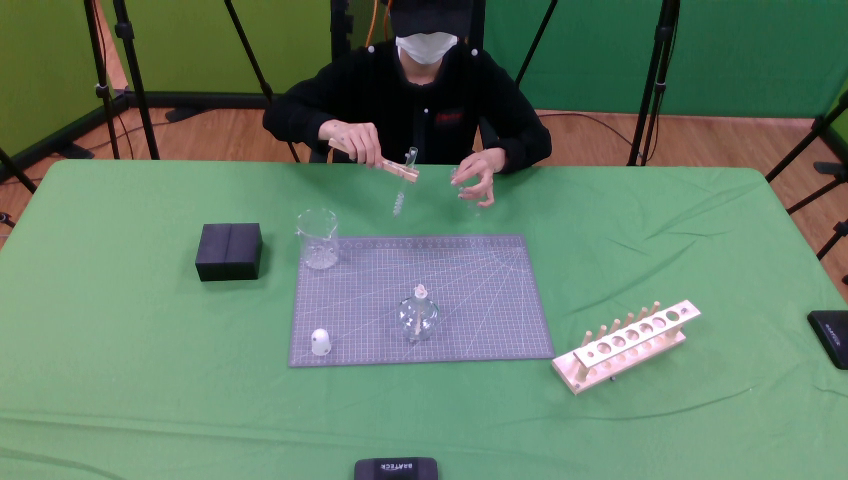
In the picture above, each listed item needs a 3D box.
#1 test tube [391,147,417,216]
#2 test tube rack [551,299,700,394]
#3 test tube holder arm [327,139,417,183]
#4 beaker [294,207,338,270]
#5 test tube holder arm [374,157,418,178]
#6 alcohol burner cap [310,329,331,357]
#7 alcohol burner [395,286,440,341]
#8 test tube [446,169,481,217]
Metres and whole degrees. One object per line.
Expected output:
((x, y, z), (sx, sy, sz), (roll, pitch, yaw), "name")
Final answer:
((-0.039, -0.107, 1.137), (0.017, 0.151, 0.017), (13, 35, -9), "test tube")
((0.339, 0.166, 1.021), (0.242, 0.085, 0.066), (-19, 50, -21), "test tube rack")
((-0.097, -0.148, 1.124), (0.178, 0.015, 0.013), (23, 30, 3), "test tube holder arm")
((-0.196, 0.003, 1.123), (0.074, 0.101, 0.083), (-23, 53, -24), "beaker")
((-0.054, -0.134, 1.129), (0.088, 0.015, 0.010), (19, 30, -4), "test tube holder arm")
((-0.173, 0.168, 1.004), (0.034, 0.048, 0.033), (2, 46, -2), "alcohol burner cap")
((-0.010, 0.116, 1.018), (0.078, 0.119, 0.077), (3, 47, -3), "alcohol burner")
((0.080, -0.088, 1.178), (0.017, 0.151, 0.017), (-15, 53, 21), "test tube")
